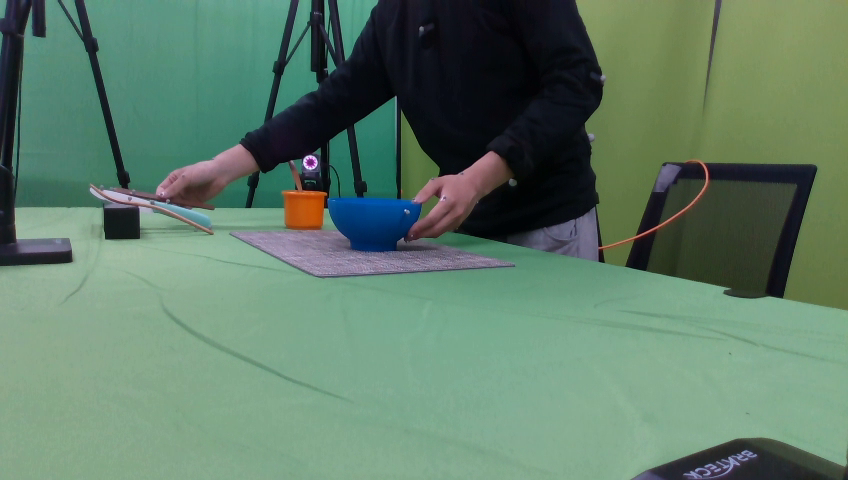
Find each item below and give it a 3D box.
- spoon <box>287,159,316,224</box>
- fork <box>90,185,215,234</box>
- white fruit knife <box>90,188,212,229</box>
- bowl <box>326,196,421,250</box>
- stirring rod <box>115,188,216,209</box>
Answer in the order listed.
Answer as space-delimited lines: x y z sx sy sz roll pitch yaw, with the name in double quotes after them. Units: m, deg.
-0.260 -0.104 1.263 0.042 0.021 0.193 -1 52 -28 "spoon"
-0.452 -0.049 1.018 0.208 0.018 0.028 21 -7 -33 "fork"
-0.479 -0.058 1.074 0.208 0.027 0.016 17 -2 -30 "white fruit knife"
-0.081 -0.027 0.957 0.151 0.077 0.151 2 7 0 "bowl"
-0.485 -0.078 1.141 0.177 0.006 0.014 9 36 -27 "stirring rod"
